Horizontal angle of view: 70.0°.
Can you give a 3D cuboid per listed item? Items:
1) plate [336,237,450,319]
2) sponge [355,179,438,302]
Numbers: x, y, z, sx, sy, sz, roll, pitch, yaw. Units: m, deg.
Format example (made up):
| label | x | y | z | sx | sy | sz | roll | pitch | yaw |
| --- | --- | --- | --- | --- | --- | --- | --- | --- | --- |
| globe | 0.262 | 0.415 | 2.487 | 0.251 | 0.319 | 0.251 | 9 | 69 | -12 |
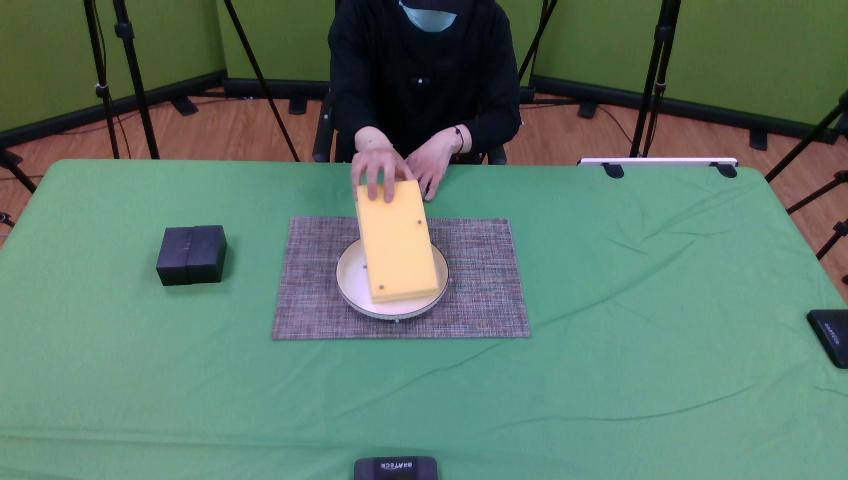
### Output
| label | x | y | z | sx | sy | sz | roll | pitch | yaw |
| --- | --- | --- | --- | --- | --- | --- | --- | --- | --- |
| plate | -0.056 | 0.065 | 1.113 | 0.208 | 0.039 | 0.206 | 2 | 46 | -2 |
| sponge | -0.052 | 0.001 | 1.089 | 0.118 | 0.061 | 0.206 | -8 | 74 | -9 |
